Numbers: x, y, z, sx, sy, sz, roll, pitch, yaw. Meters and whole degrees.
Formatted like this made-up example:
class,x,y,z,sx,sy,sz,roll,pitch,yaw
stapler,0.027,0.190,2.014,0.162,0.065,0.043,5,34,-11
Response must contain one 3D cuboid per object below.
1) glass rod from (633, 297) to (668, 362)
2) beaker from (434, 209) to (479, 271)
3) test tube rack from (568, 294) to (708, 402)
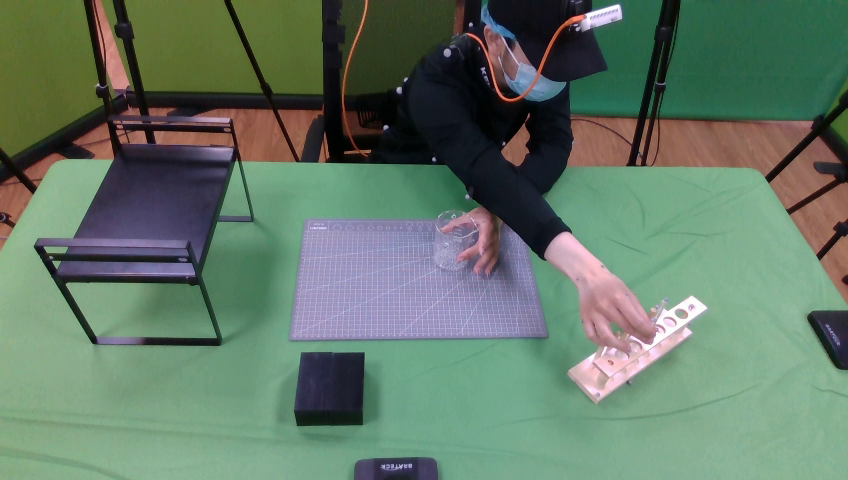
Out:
class,x,y,z,sx,sy,sz,roll,pitch,yaw
glass rod,0.350,0.144,0.945,0.008,0.201,0.008,-1,53,2
beaker,0.058,0.002,1.138,0.084,0.101,0.073,7,47,3
test tube rack,0.360,0.167,1.014,0.242,0.085,0.066,-25,52,-25
